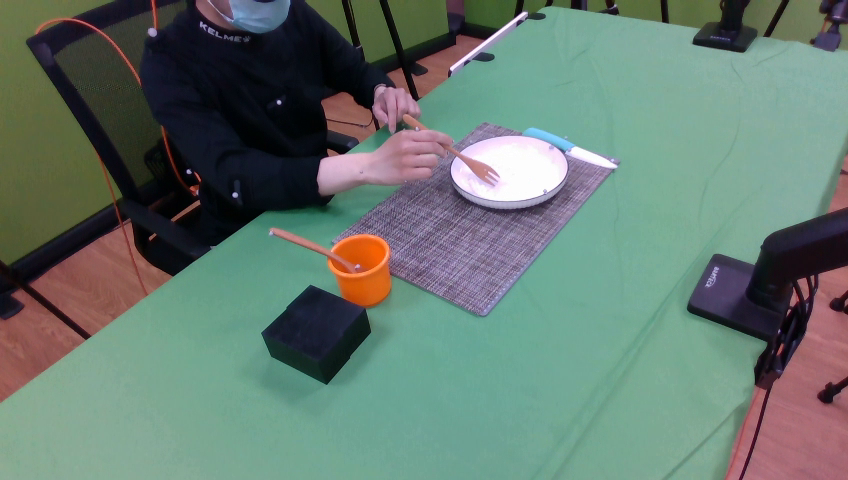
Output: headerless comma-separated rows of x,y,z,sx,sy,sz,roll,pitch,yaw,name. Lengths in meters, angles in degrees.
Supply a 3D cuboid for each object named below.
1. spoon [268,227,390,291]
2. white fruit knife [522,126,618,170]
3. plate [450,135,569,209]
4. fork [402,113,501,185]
-0.132,0.025,0.862,0.021,0.195,0.041,-40,32,33,spoon
0.272,-0.172,1.132,0.205,0.016,0.027,32,82,34,white fruit knife
0.149,-0.117,1.066,0.209,0.038,0.208,-4,41,4,plate
0.049,-0.153,1.014,0.028,0.208,0.018,-56,19,8,fork
